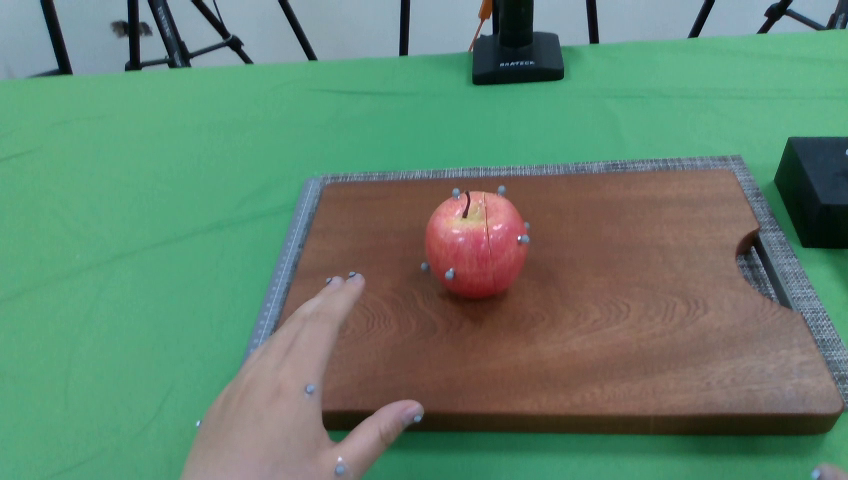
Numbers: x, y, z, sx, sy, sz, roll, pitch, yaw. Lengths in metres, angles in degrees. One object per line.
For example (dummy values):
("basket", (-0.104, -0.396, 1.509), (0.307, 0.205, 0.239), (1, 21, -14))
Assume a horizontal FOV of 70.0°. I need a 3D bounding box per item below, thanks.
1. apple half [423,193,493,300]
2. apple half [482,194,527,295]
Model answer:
("apple half", (0.026, 0.007, 0.481), (0.053, 0.075, 0.080), (-7, 45, 7))
("apple half", (0.065, 0.003, 0.478), (0.033, 0.082, 0.080), (-7, 42, 6))
